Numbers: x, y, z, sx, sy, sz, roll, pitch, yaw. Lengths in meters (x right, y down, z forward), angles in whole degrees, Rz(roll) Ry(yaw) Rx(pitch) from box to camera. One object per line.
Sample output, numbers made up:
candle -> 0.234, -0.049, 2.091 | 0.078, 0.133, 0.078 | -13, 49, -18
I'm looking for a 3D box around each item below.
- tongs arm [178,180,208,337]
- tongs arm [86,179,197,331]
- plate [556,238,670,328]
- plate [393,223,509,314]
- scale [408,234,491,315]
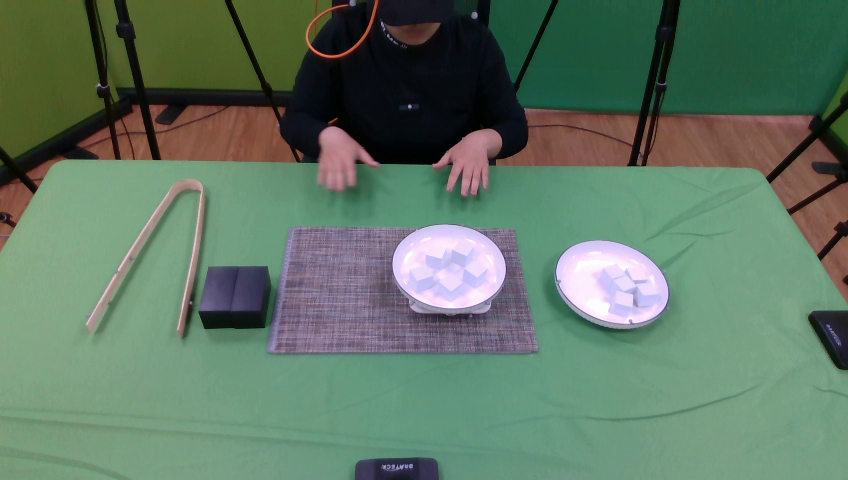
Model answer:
tongs arm -> -0.437, 0.020, 1.144 | 0.028, 0.028, 0.385 | -6, 47, -6
tongs arm -> -0.517, 0.014, 1.137 | 0.051, 0.026, 0.382 | 6, 45, 0
plate -> 0.347, 0.083, 1.130 | 0.209, 0.038, 0.208 | 2, 47, -2
plate -> 0.048, 0.053, 1.091 | 0.208, 0.039, 0.206 | 1, 46, -1
scale -> 0.045, 0.055, 1.135 | 0.149, 0.032, 0.199 | 1, 46, -3
